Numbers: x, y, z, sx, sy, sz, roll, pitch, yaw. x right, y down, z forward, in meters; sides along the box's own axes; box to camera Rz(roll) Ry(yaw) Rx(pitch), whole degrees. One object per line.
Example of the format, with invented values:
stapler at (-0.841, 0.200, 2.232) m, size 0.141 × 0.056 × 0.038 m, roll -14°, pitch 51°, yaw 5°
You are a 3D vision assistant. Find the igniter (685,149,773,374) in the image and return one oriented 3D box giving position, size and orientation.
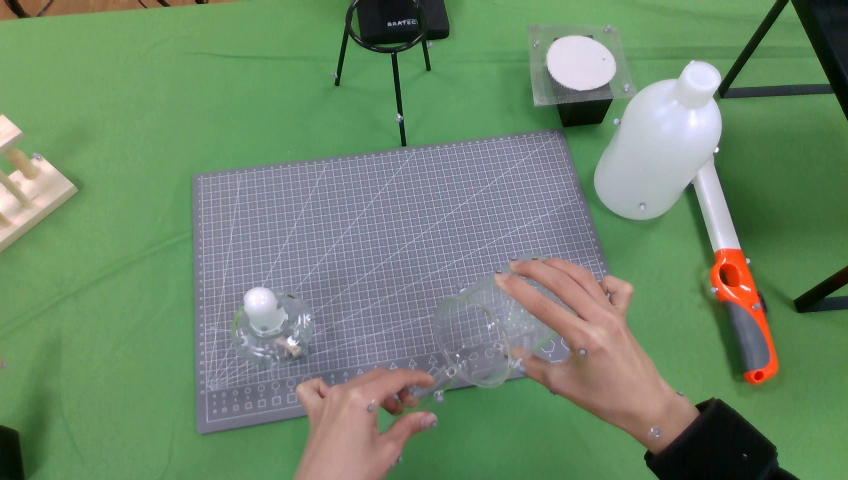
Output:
igniter at (0.335, 0.014, 0.679) m, size 0.057 × 0.025 × 0.274 m, roll 2°, pitch 64°, yaw -13°

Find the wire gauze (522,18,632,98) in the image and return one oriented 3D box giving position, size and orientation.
wire gauze at (0.184, -0.226, 0.741) m, size 0.121 × 0.011 × 0.124 m, roll -1°, pitch 64°, yaw -3°

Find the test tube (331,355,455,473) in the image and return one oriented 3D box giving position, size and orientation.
test tube at (-0.029, 0.145, 0.495) m, size 0.150 × 0.017 × 0.017 m, roll -47°, pitch 69°, yaw 20°

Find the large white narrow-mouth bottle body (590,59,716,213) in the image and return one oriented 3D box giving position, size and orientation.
large white narrow-mouth bottle body at (0.248, -0.115, 0.643) m, size 0.102 × 0.196 × 0.101 m, roll 1°, pitch 64°, yaw -2°

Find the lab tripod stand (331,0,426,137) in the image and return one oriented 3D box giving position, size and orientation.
lab tripod stand at (-0.045, -0.216, 0.711) m, size 0.148 × 0.132 × 0.147 m, roll 2°, pitch 65°, yaw -4°

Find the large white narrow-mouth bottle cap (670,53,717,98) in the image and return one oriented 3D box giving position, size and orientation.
large white narrow-mouth bottle cap at (0.250, -0.154, 0.566) m, size 0.038 × 0.024 × 0.037 m, roll 1°, pitch 64°, yaw -2°

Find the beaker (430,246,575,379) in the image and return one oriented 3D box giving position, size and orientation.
beaker at (0.064, 0.054, 0.476) m, size 0.100 × 0.084 × 0.073 m, roll -27°, pitch 63°, yaw -39°

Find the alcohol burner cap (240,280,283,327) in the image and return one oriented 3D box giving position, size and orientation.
alcohol burner cap at (-0.149, 0.055, 0.546) m, size 0.034 × 0.048 × 0.033 m, roll 0°, pitch 59°, yaw 1°

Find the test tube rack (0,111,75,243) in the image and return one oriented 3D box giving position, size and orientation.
test tube rack at (-0.500, -0.018, 0.622) m, size 0.066 × 0.086 × 0.242 m, roll 37°, pitch 69°, yaw 14°

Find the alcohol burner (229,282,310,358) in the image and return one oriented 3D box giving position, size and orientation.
alcohol burner at (-0.150, 0.071, 0.579) m, size 0.078 × 0.120 × 0.077 m, roll 2°, pitch 63°, yaw -3°
